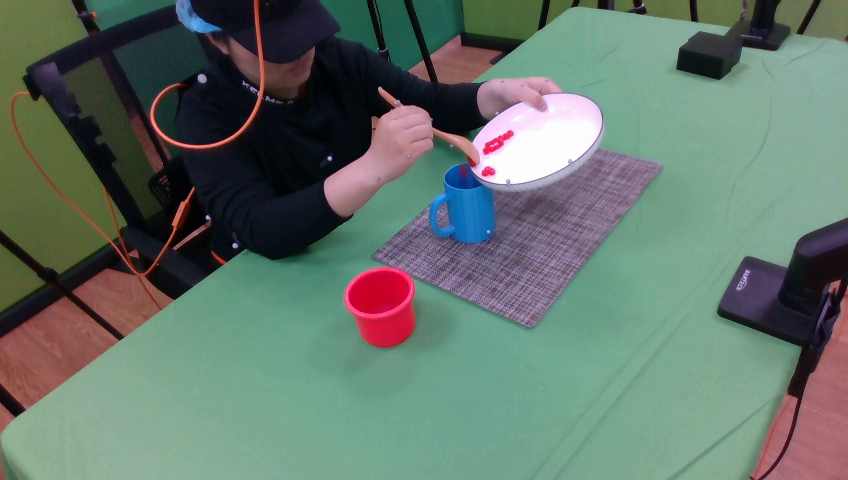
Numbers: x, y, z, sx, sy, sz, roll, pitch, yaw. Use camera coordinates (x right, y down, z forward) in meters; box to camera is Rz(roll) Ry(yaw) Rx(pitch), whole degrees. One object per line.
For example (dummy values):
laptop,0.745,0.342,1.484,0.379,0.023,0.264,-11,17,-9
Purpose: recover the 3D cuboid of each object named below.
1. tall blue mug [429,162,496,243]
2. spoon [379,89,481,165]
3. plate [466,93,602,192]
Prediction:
tall blue mug,0.067,-0.051,0.960,0.077,0.108,0.107,17,47,27
spoon,0.012,-0.165,0.889,0.195,0.021,0.041,26,37,-25
plate,0.167,-0.142,0.912,0.207,0.039,0.206,-18,41,17
